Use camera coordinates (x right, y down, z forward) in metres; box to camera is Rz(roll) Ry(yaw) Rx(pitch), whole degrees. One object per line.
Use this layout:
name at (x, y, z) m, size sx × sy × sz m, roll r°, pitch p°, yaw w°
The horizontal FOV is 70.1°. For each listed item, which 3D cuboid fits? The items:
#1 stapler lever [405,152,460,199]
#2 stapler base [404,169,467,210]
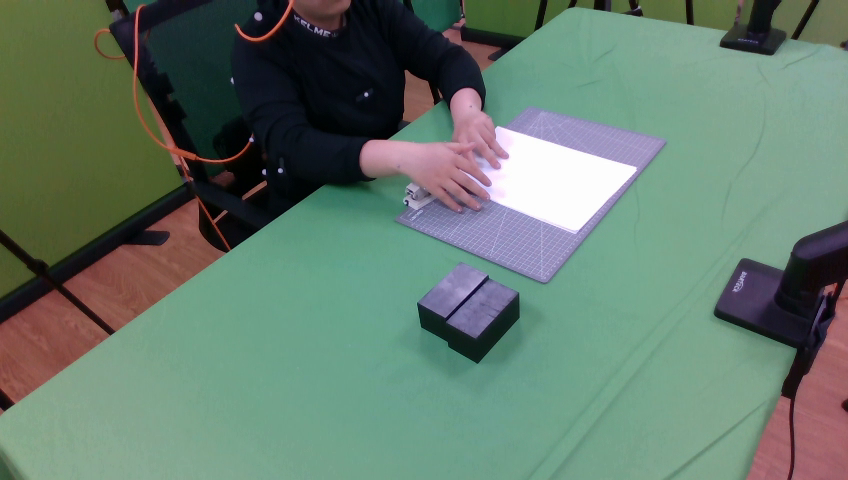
stapler lever at (0.017, -0.117, 1.071) m, size 0.118 × 0.040 × 0.026 m, roll -35°, pitch 43°, yaw -28°
stapler base at (0.021, -0.100, 1.087) m, size 0.131 × 0.024 × 0.041 m, roll -36°, pitch 44°, yaw -27°
